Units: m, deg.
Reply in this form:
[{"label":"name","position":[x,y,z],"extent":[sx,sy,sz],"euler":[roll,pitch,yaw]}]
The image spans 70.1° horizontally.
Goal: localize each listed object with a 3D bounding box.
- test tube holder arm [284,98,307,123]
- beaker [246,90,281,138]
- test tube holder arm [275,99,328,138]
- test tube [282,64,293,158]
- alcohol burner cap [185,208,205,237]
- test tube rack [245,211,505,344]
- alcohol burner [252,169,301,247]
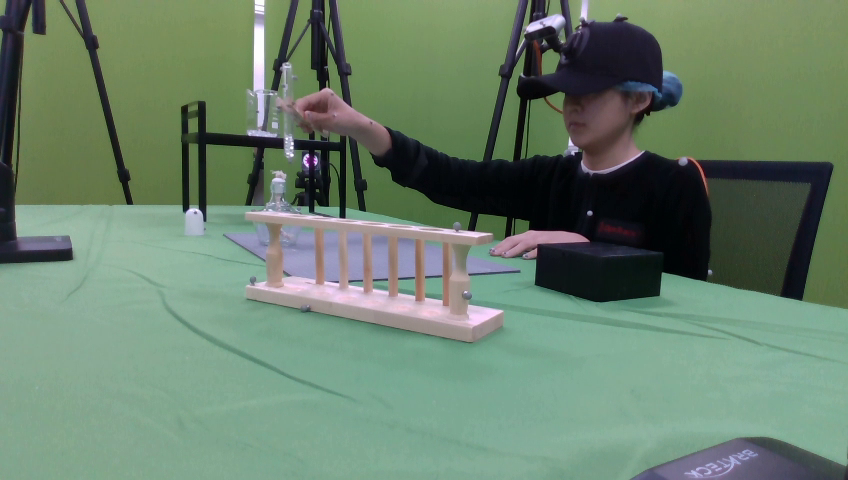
[{"label":"test tube holder arm","position":[-0.203,-0.205,0.960],"extent":[0.010,0.015,0.088],"euler":[-1,-6,6]},{"label":"beaker","position":[-0.354,-0.275,1.322],"extent":[0.074,0.100,0.084],"euler":[4,8,12]},{"label":"test tube holder arm","position":[-0.200,-0.200,1.005],"extent":[0.013,0.015,0.179],"euler":[-1,-6,13]},{"label":"test tube","position":[-0.211,-0.200,0.937],"extent":[0.017,0.150,0.017],"euler":[-2,-7,0]},{"label":"alcohol burner cap","position":[-0.391,-0.031,1.032],"extent":[0.034,0.048,0.034],"euler":[3,8,0]},{"label":"test tube rack","position":[-0.049,0.025,0.547],"extent":[0.241,0.085,0.067],"euler":[7,8,29]},{"label":"alcohol burner","position":[-0.227,-0.050,0.936],"extent":[0.078,0.119,0.078],"euler":[1,7,0]}]
